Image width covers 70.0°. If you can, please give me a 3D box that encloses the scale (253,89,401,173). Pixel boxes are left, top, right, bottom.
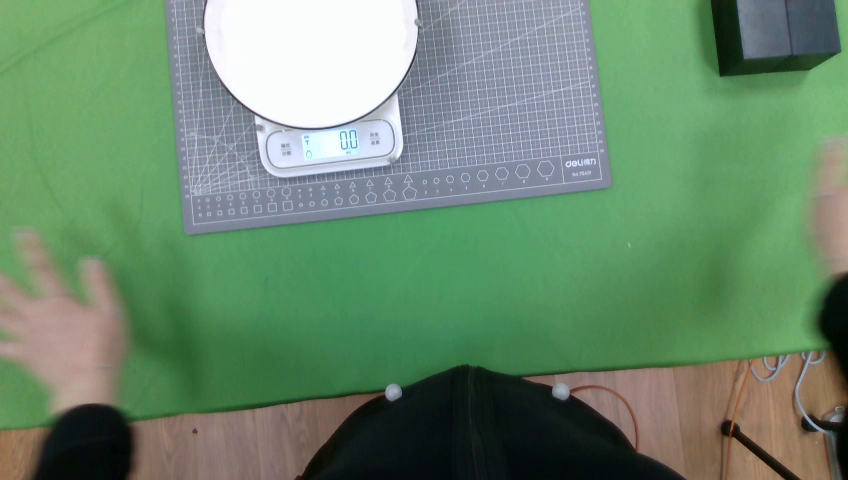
[{"bbox_3d":[-0.107,-0.176,0.629,0.149,0.031,0.200,-7,87,-1],"label":"scale"}]

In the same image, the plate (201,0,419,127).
[{"bbox_3d":[-0.109,-0.210,0.598,0.209,0.038,0.208,0,86,-2],"label":"plate"}]
